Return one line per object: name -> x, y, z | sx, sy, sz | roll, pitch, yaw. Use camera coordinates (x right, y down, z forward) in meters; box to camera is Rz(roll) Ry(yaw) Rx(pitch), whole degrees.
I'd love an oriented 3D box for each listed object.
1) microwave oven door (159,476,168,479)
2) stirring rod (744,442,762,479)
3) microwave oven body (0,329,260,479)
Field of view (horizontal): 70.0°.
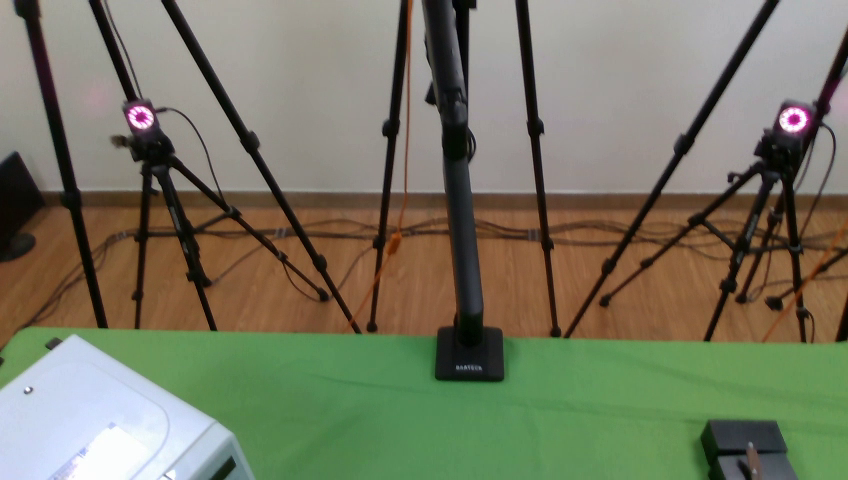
microwave oven door -> -0.358, 0.447, 0.625 | 0.039, 0.246, 0.354 | 20, 47, 24
stirring rod -> 0.459, 0.365, 0.819 | 0.014, 0.006, 0.175 | -6, 66, 12
microwave oven body -> -0.462, 0.380, 0.713 | 0.324, 0.262, 0.440 | 21, 48, 23
